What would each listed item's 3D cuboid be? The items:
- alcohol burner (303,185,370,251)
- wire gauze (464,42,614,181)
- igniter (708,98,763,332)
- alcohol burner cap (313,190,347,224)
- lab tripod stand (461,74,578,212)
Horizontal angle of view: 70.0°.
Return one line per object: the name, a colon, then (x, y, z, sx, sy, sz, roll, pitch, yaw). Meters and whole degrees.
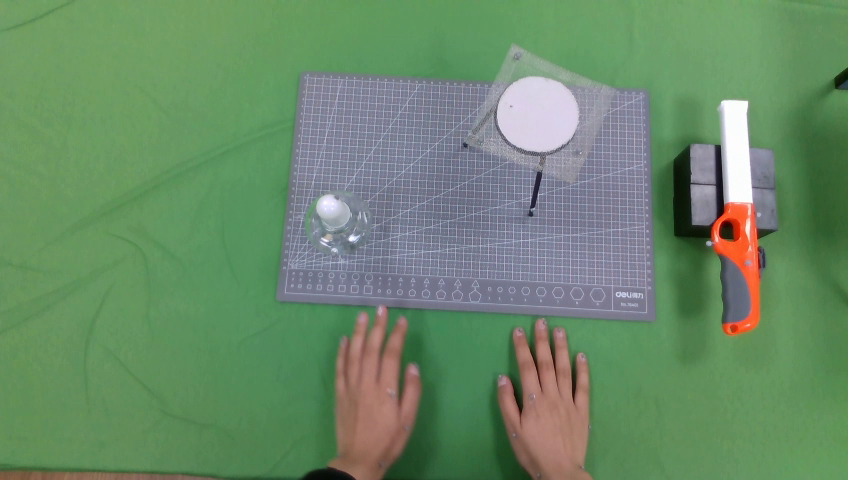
alcohol burner: (-0.101, -0.029, 0.682, 0.078, 0.119, 0.077, 0, 79, -2)
wire gauze: (0.121, -0.134, 0.630, 0.121, 0.011, 0.124, 25, 77, 4)
igniter: (0.353, -0.032, 0.690, 0.057, 0.025, 0.275, 3, 77, 5)
alcohol burner cap: (-0.102, -0.037, 0.647, 0.034, 0.048, 0.033, 0, 79, 2)
lab tripod stand: (0.118, -0.122, 0.696, 0.148, 0.132, 0.147, 0, 75, -1)
